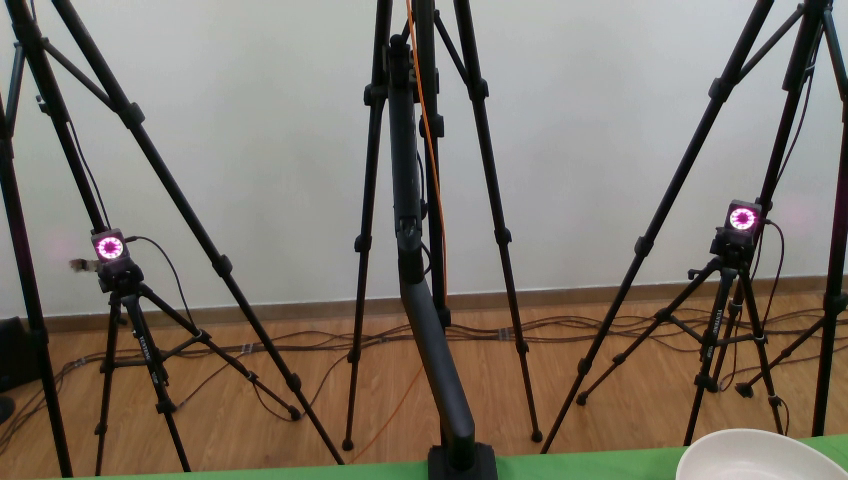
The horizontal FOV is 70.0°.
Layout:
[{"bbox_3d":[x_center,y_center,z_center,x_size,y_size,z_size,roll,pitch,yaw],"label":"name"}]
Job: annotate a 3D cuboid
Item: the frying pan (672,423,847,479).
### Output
[{"bbox_3d":[0.526,0.463,0.846,0.306,0.103,0.484,-1,25,5],"label":"frying pan"}]
